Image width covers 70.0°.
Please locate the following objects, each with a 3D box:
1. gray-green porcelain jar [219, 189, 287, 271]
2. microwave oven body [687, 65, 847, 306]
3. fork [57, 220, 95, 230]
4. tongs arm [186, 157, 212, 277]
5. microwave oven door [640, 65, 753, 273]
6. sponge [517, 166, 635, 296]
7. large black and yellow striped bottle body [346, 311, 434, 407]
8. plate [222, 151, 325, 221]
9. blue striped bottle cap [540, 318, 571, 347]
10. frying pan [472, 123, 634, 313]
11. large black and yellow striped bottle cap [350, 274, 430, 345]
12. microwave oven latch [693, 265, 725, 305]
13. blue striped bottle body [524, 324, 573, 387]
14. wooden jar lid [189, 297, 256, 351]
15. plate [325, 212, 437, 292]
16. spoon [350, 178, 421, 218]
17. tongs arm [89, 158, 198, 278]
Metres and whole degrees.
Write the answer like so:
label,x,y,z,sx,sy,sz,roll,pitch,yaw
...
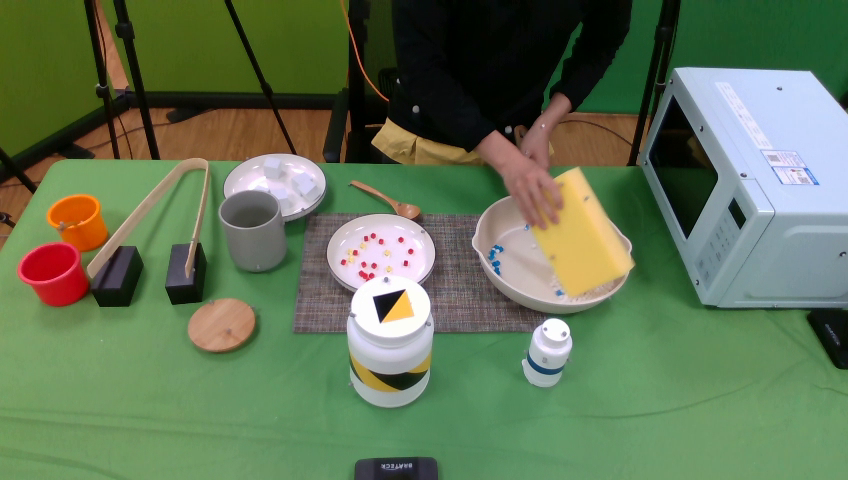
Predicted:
label,x,y,z,sx,sy,sz,roll,pitch,yaw
gray-green porcelain jar,-0.310,-0.014,1.113,0.106,0.127,0.105,2,46,-2
microwave oven body,0.669,-0.111,1.176,0.326,0.261,0.439,0,46,-3
fork,-0.624,-0.027,1.087,0.028,0.207,0.018,-3,92,-17
tongs arm,-0.445,-0.058,1.168,0.051,0.026,0.382,-5,37,-6
microwave oven door,0.523,-0.147,1.193,0.039,0.245,0.353,0,47,-3
sponge,0.274,-0.015,1.100,0.061,0.118,0.206,-24,83,-51
large black and yellow striped bottle body,-0.052,0.157,0.929,0.131,0.185,0.130,2,47,-2
plate,-0.310,-0.106,1.262,0.208,0.039,0.206,2,47,-2
blue striped bottle cap,0.203,0.142,0.933,0.044,0.021,0.044,3,49,-4
frying pan,0.234,-0.060,1.207,0.307,0.103,0.484,1,54,-6
large black and yellow striped bottle cap,-0.048,0.097,0.868,0.115,0.019,0.114,3,48,-3
microwave oven latch,0.523,0.082,1.116,0.030,0.029,0.078,2,46,-1
blue striped bottle body,0.200,0.178,0.970,0.063,0.121,0.062,2,46,-2
wooden jar lid,-0.342,0.145,1.033,0.108,0.021,0.107,2,45,-2
plate,-0.080,0.030,1.143,0.209,0.038,0.208,2,46,-2
spoon,-0.084,-0.093,1.272,0.193,0.022,0.041,31,70,25
tongs arm,-0.530,-0.057,1.164,0.028,0.028,0.385,1,36,8
